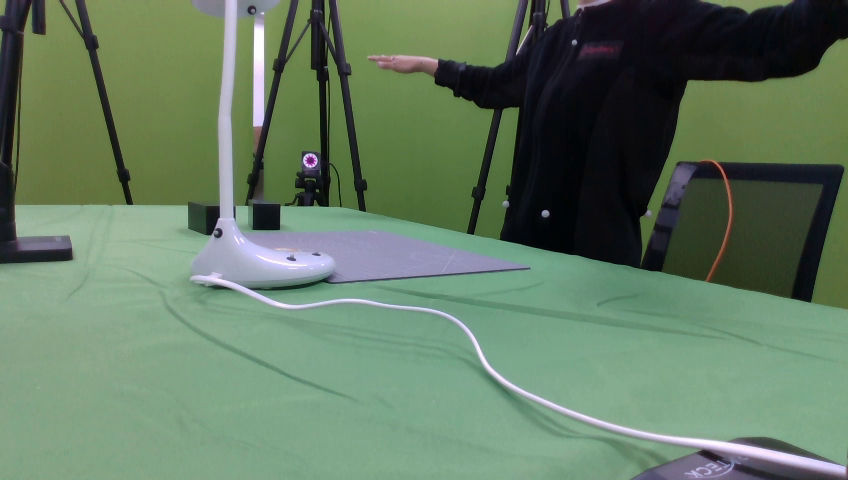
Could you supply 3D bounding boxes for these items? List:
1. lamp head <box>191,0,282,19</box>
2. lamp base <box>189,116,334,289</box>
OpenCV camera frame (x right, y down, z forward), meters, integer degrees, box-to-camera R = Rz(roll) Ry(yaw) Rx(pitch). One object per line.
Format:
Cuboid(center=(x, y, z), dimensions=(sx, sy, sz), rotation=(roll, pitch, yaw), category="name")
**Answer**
Cuboid(center=(-0.222, -0.330, 0.689), dimensions=(0.112, 0.112, 0.123), rotation=(3, -33, -4), category="lamp head")
Cuboid(center=(-0.185, -0.044, 0.669), dimensions=(0.160, 0.180, 0.179), rotation=(3, 10, 14), category="lamp base")
